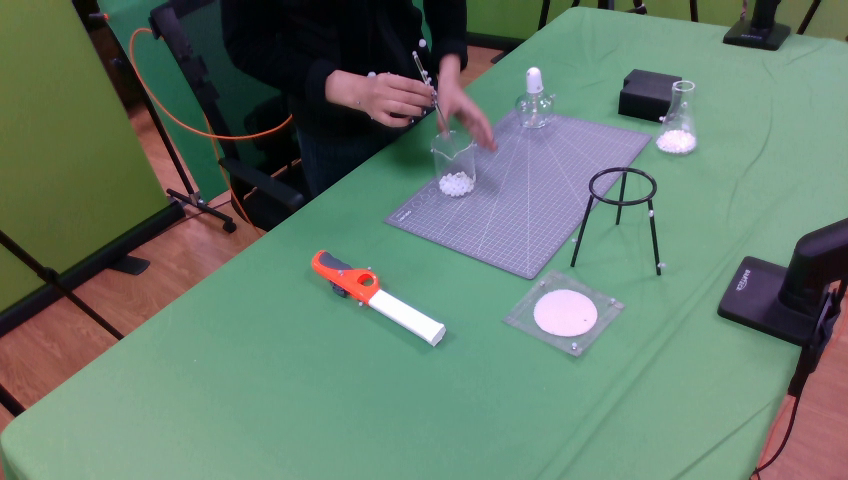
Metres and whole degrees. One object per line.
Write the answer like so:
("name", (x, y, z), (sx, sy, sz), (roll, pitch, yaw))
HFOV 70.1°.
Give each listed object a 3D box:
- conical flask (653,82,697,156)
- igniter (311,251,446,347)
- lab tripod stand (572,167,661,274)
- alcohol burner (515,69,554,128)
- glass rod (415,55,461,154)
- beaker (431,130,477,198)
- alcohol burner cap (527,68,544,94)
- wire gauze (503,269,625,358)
("conical flask", (0.454, -0.218, 1.077), (0.075, 0.122, 0.075), (-5, 40, 5))
("igniter", (-0.078, 0.081, 0.899), (0.274, 0.025, 0.057), (27, 62, 35))
("lab tripod stand", (0.284, -0.030, 0.879), (0.148, 0.132, 0.147), (-7, 38, 6))
("alcohol burner", (0.221, -0.285, 1.203), (0.078, 0.119, 0.077), (-4, 39, 4))
("glass rod", (0.025, -0.215, 0.984), (0.008, 0.201, 0.008), (-15, 44, 16))
("beaker", (0.055, -0.130, 1.064), (0.074, 0.101, 0.083), (-4, 41, 8))
("alcohol burner cap", (0.216, -0.312, 1.179), (0.034, 0.048, 0.033), (-9, 40, 9))
("wire gauze", (0.194, 0.100, 0.840), (0.120, 0.011, 0.125), (27, 54, 36))
